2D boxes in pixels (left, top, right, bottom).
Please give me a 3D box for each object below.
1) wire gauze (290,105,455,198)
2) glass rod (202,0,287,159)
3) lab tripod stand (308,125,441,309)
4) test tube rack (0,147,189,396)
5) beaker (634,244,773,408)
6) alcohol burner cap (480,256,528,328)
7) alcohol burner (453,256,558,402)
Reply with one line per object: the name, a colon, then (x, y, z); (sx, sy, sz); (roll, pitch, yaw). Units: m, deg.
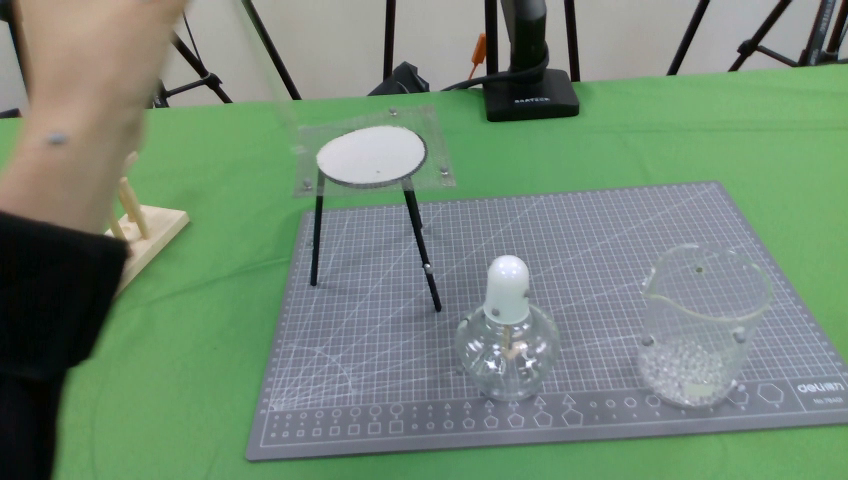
wire gauze: (-0.045, -0.072, 0.486); (0.125, 0.011, 0.120); (-8, 39, -2)
glass rod: (-0.106, -0.113, 0.310); (0.008, 0.202, 0.008); (-5, 52, 7)
lab tripod stand: (-0.040, -0.020, 0.529); (0.148, 0.133, 0.147); (-3, 41, 3)
test tube rack: (-0.327, 0.015, 0.557); (0.066, 0.086, 0.241); (10, 41, 16)
beaker: (0.189, 0.065, 0.430); (0.084, 0.101, 0.073); (-6, 39, 0)
alcohol burner cap: (0.056, 0.033, 0.414); (0.034, 0.048, 0.033); (0, 37, 1)
alcohol burner: (0.059, 0.060, 0.437); (0.078, 0.120, 0.077); (-3, 38, 3)
